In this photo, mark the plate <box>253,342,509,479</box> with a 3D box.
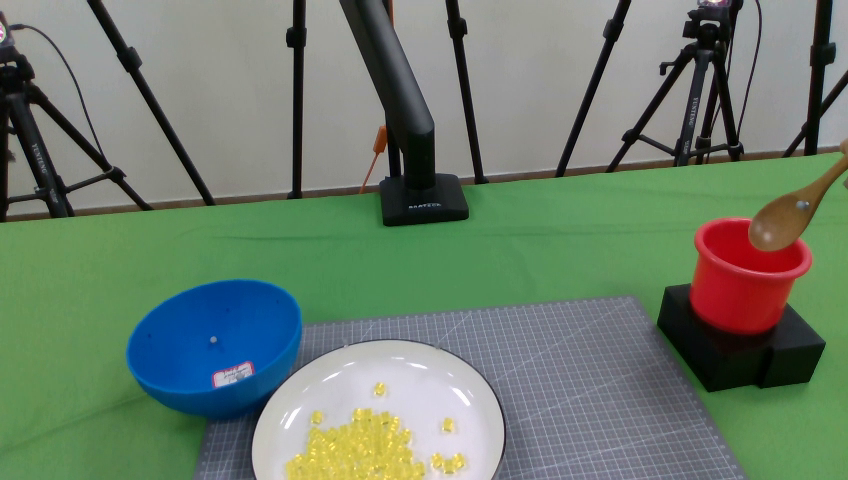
[{"bbox_3d":[-0.034,0.168,0.508,0.208,0.039,0.205,-1,33,1],"label":"plate"}]

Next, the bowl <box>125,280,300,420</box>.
[{"bbox_3d":[-0.186,0.113,0.562,0.151,0.077,0.150,-1,34,1],"label":"bowl"}]

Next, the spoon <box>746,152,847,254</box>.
[{"bbox_3d":[0.291,-0.048,0.420,0.022,0.195,0.041,3,59,-8],"label":"spoon"}]
